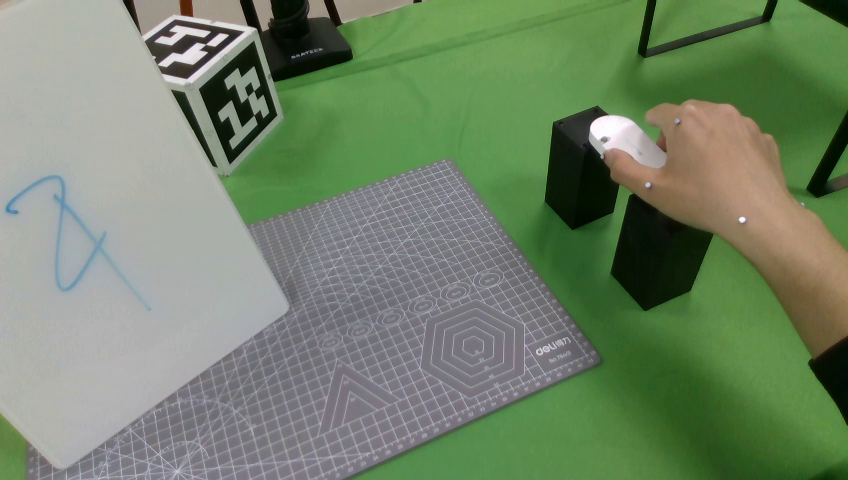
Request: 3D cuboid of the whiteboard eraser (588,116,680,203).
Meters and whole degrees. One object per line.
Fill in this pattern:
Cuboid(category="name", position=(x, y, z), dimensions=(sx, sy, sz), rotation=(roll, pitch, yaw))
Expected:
Cuboid(category="whiteboard eraser", position=(0.175, -0.071, 0.510), dimensions=(0.041, 0.019, 0.100), rotation=(-18, 50, -11))

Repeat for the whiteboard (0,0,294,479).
Cuboid(category="whiteboard", position=(-0.283, -0.014, 0.480), dimensions=(0.217, 0.308, 0.142), rotation=(-37, 35, -25))
